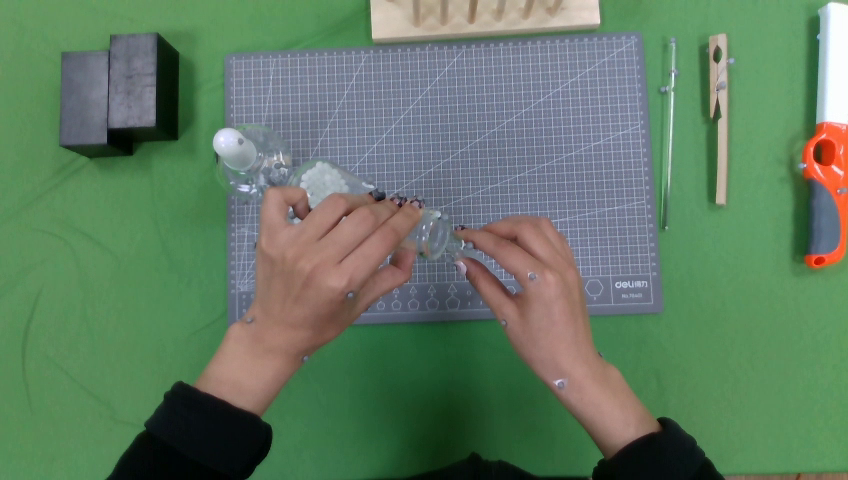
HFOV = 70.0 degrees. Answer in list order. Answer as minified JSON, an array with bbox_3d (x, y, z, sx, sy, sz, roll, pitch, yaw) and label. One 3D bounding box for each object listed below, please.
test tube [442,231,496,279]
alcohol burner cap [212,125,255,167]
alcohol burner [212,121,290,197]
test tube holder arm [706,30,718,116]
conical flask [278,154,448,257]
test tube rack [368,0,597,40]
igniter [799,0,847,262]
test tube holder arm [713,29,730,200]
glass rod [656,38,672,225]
[{"bbox_3d":[0.042,0.016,0.527,0.017,0.151,0.017,-4,77,17],"label":"test tube"},{"bbox_3d":[-0.177,-0.089,0.558,0.034,0.048,0.033,0,80,-1],"label":"alcohol burner cap"},{"bbox_3d":[-0.176,-0.084,0.593,0.078,0.119,0.077,0,84,5],"label":"alcohol burner"},{"bbox_3d":[0.303,-0.175,0.636,0.010,0.015,0.087,-4,84,38],"label":"test tube holder arm"},{"bbox_3d":[-0.043,-0.019,0.460,0.121,0.076,0.075,15,85,24],"label":"conical flask"},{"bbox_3d":[0.060,-0.262,0.618,0.242,0.085,0.066,-3,84,2],"label":"test tube rack"},{"bbox_3d":[0.414,-0.113,0.620,0.057,0.025,0.276,6,85,-7],"label":"igniter"},{"bbox_3d":[0.308,-0.130,0.629,0.013,0.015,0.178,-5,83,38],"label":"test tube holder arm"},{"bbox_3d":[0.252,-0.115,0.635,0.008,0.008,0.199,4,87,2],"label":"glass rod"}]
